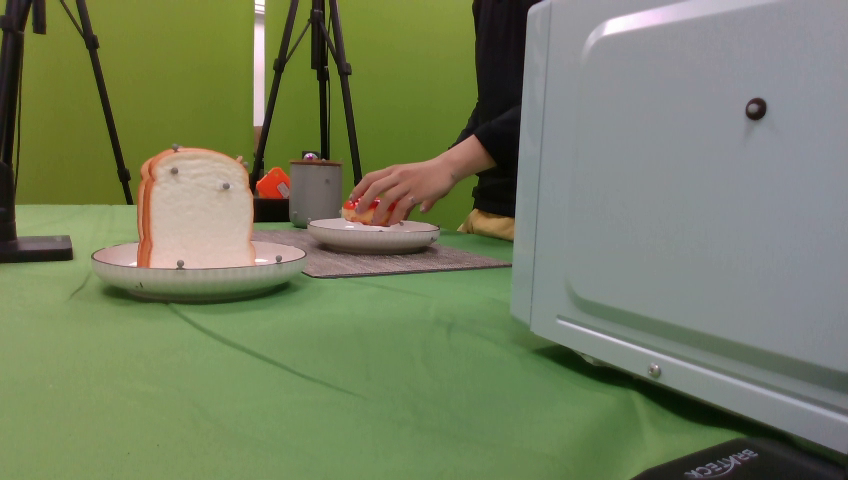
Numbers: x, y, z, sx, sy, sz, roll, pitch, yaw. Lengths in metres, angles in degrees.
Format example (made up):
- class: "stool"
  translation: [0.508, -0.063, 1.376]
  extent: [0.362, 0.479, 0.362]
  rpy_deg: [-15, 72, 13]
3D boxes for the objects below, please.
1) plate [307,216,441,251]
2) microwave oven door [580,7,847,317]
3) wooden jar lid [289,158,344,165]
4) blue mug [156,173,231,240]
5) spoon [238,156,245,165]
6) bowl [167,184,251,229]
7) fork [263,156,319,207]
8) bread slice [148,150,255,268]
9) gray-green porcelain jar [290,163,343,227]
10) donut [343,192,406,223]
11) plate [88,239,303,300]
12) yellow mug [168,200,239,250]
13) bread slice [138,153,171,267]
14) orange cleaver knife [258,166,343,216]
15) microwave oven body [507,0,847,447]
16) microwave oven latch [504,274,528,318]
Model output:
- class: "plate"
  translation: [-0.078, -0.011, 0.954]
  extent: [0.209, 0.038, 0.209]
  rpy_deg: [2, 7, 0]
- class: "microwave oven door"
  translation: [0.294, -0.067, 0.570]
  extent: [0.358, 0.243, 0.039]
  rpy_deg: [-3, 9, -31]
- class: "wooden jar lid"
  translation: [-0.215, -0.153, 1.212]
  extent: [0.108, 0.020, 0.108]
  rpy_deg: [2, 5, 0]
- class: "blue mug"
  translation: [-0.381, -0.057, 1.004]
  extent: [0.117, 0.106, 0.082]
  rpy_deg: [0, 8, -12]
- class: "spoon"
  translation: [-0.477, -0.145, 1.492]
  extent: [0.041, 0.022, 0.193]
  rpy_deg: [-1, 51, 13]
- class: "bowl"
  translation: [-0.408, -0.064, 1.154]
  extent: [0.151, 0.077, 0.151]
  rpy_deg: [2, 8, 0]
- class: "fork"
  translation: [-0.331, -0.144, 1.505]
  extent: [0.207, 0.018, 0.028]
  rpy_deg: [-42, -20, 22]
- class: "bread slice"
  translation: [-0.230, -0.024, 0.618]
  extent: [0.107, 0.134, 0.018]
  rpy_deg: [-8, 10, -34]
- class: "gray-green porcelain jar"
  translation: [-0.217, -0.091, 1.221]
  extent: [0.106, 0.126, 0.106]
  rpy_deg: [2, 7, 0]
- class: "donut"
  translation: [-0.078, -0.051, 0.951]
  extent: [0.099, 0.048, 0.099]
  rpy_deg: [2, 11, 0]
- class: "plate"
  translation: [-0.233, 0.029, 0.636]
  extent: [0.208, 0.039, 0.207]
  rpy_deg: [2, 7, 0]
- class: "yellow mug"
  translation: [-0.319, -0.023, 0.904]
  extent: [0.130, 0.064, 0.100]
  rpy_deg: [9, 11, 36]
- class: "bread slice"
  translation: [-0.256, -0.029, 0.660]
  extent: [0.105, 0.131, 0.019]
  rpy_deg: [-1, 0, -36]
- class: "orange cleaver knife"
  translation: [-0.276, -0.090, 1.369]
  extent: [0.212, 0.077, 0.012]
  rpy_deg: [33, -11, -34]
- class: "microwave oven body"
  translation: [0.331, -0.042, 0.425]
  extent: [0.444, 0.260, 0.324]
  rpy_deg: [-2, 8, -31]
- class: "microwave oven latch"
  translation: [0.100, 0.041, 0.471]
  extent: [0.079, 0.029, 0.030]
  rpy_deg: [-1, 8, -28]
